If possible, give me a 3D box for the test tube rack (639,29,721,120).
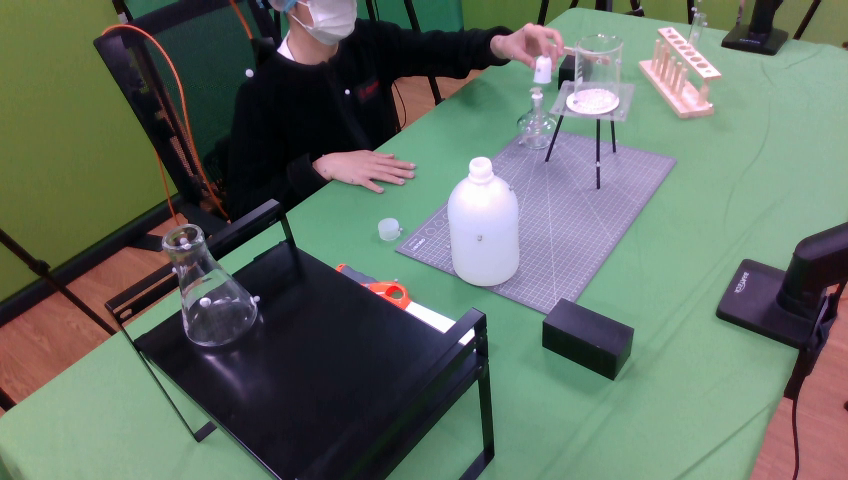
[{"bbox_3d":[0.527,-0.351,1.262,0.067,0.085,0.241,-8,40,1],"label":"test tube rack"}]

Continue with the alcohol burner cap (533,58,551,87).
[{"bbox_3d":[0.214,-0.304,1.091,0.034,0.048,0.033,-2,31,1],"label":"alcohol burner cap"}]

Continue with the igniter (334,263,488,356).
[{"bbox_3d":[-0.030,0.095,0.872,0.274,0.025,0.057,23,59,31],"label":"igniter"}]

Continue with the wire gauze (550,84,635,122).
[{"bbox_3d":[0.285,-0.234,1.021,0.124,0.011,0.121,8,41,24],"label":"wire gauze"}]

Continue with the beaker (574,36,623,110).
[{"bbox_3d":[0.285,-0.273,0.990,0.073,0.101,0.084,15,46,27],"label":"beaker"}]

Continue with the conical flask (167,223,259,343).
[{"bbox_3d":[-0.220,0.041,0.613,0.075,0.122,0.075,-5,40,4],"label":"conical flask"}]

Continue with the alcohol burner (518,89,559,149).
[{"bbox_3d":[0.218,-0.235,1.149,0.078,0.119,0.077,-5,43,5],"label":"alcohol burner"}]

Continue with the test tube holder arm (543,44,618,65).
[{"bbox_3d":[0.344,-0.412,1.340,0.177,0.015,0.013,25,49,31],"label":"test tube holder arm"}]

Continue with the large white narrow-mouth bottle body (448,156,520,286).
[{"bbox_3d":[0.086,-0.032,0.868,0.102,0.195,0.101,-4,40,4],"label":"large white narrow-mouth bottle body"}]

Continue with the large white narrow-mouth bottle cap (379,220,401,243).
[{"bbox_3d":[-0.057,-0.015,1.011,0.038,0.024,0.037,-4,40,4],"label":"large white narrow-mouth bottle cap"}]

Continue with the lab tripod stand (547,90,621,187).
[{"bbox_3d":[0.289,-0.184,1.062,0.148,0.132,0.147,-6,41,6],"label":"lab tripod stand"}]

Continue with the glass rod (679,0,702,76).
[{"bbox_3d":[0.543,-0.417,1.233,0.008,0.200,0.008,1,39,0],"label":"glass rod"}]

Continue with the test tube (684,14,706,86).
[{"bbox_3d":[0.540,-0.378,1.215,0.017,0.151,0.017,-2,44,3],"label":"test tube"}]

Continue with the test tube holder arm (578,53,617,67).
[{"bbox_3d":[0.376,-0.393,1.314,0.087,0.015,0.010,25,50,32],"label":"test tube holder arm"}]
